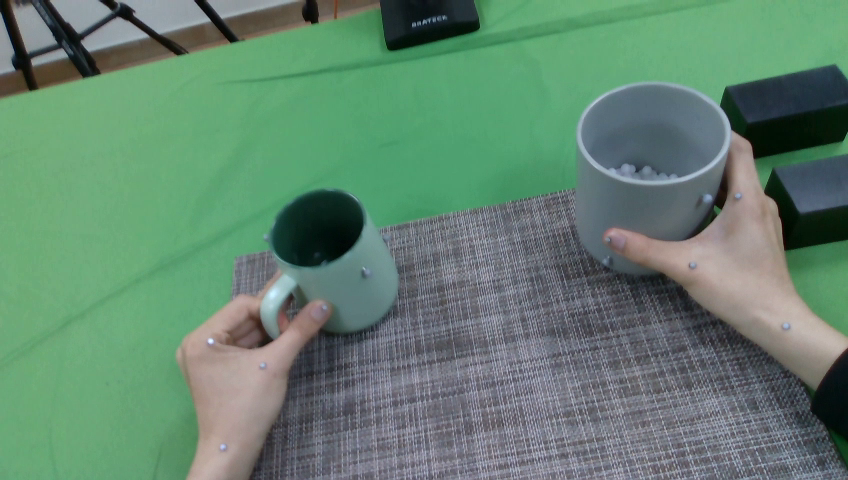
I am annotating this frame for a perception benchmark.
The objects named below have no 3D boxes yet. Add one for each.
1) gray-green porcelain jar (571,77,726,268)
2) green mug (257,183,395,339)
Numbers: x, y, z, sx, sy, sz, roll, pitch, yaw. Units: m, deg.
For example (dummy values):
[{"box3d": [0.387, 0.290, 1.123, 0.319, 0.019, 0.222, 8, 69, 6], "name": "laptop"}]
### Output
[{"box3d": [0.171, -0.046, 0.482, 0.106, 0.128, 0.105, -6, 53, 9], "name": "gray-green porcelain jar"}, {"box3d": [-0.086, 0.027, 0.502, 0.092, 0.106, 0.125, 27, 65, 25], "name": "green mug"}]
